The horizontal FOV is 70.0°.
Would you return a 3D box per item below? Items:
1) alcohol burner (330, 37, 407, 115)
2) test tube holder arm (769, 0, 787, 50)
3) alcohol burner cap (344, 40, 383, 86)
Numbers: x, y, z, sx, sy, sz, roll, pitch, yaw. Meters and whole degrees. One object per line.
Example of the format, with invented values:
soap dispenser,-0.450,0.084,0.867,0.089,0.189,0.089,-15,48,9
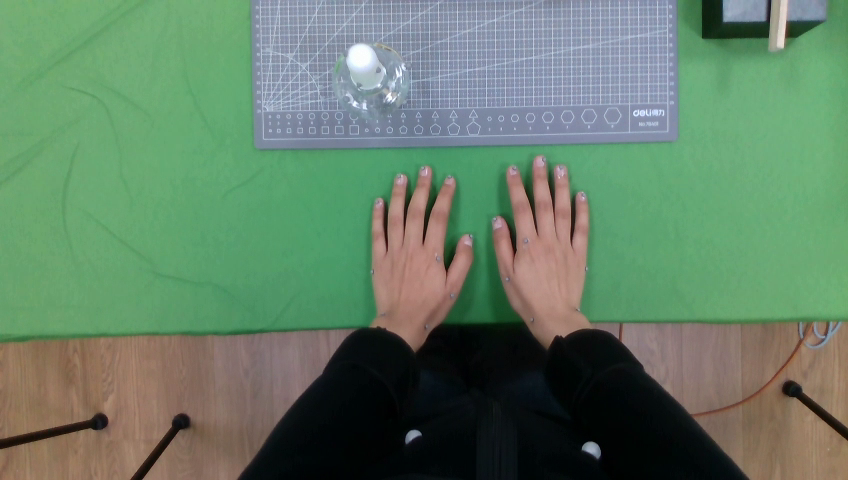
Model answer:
alcohol burner,-0.056,-0.164,0.591,0.078,0.119,0.078,0,90,1
test tube holder arm,0.340,-0.274,0.579,0.013,0.015,0.178,-1,92,-6
alcohol burner cap,-0.057,-0.164,0.556,0.034,0.048,0.034,0,85,5
